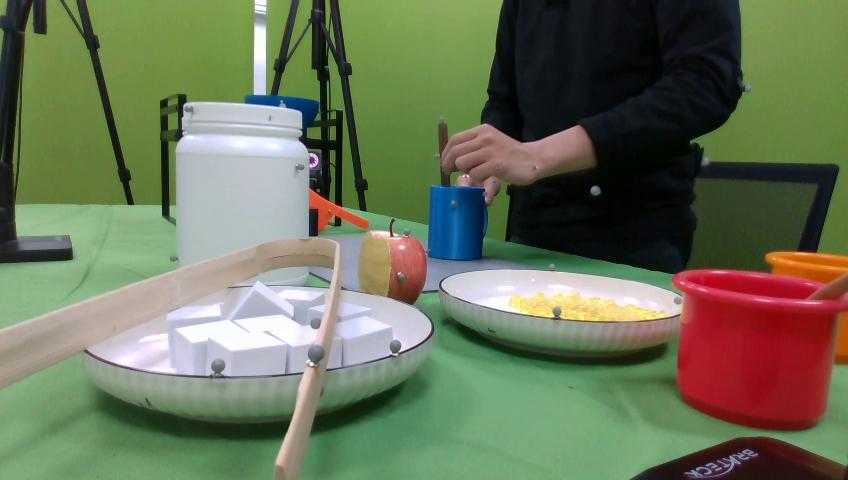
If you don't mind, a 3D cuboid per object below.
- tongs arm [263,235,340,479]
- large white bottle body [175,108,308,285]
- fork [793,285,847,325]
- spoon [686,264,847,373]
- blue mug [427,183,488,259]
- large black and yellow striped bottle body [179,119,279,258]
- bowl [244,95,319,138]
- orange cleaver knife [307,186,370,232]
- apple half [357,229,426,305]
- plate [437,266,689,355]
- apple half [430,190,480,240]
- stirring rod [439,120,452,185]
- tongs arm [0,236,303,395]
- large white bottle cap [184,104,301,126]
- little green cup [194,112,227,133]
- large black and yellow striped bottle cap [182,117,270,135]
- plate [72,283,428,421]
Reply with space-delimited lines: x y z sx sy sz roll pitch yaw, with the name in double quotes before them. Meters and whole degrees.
"tongs arm" -0.074 0.039 0.349 0.051 0.026 0.384 -2 10 -3
"large white bottle body" -0.188 -0.042 0.630 0.131 0.184 0.130 2 8 0
"fork" 0.331 0.018 0.442 0.028 0.018 0.207 -2 -36 -15
"spoon" 0.214 0.032 0.328 0.042 0.021 0.193 -3 -35 -26
"blue mug" 0.059 -0.031 0.906 0.082 0.106 0.117 9 10 42
"large black and yellow striped bottle body" -0.271 -0.074 0.846 0.131 0.184 0.130 0 9 0
"bowl" -0.293 -0.251 1.249 0.151 0.077 0.151 2 7 0
"orange cleaver knife" -0.197 -0.056 1.141 0.212 0.077 0.012 29 0 -34
"apple half" -0.026 0.028 0.570 0.053 0.074 0.080 3 2 -28
"plate" 0.114 0.057 0.518 0.209 0.038 0.209 3 7 0
"apple half" 0.046 -0.040 0.903 0.081 0.081 0.032 2 17 -4
"stirring rod" 0.033 -0.082 0.862 0.014 0.176 0.006 0 10 23
"tongs arm" -0.157 0.038 0.351 0.028 0.028 0.388 -3 8 12
"large white bottle cap" -0.184 -0.126 0.618 0.115 0.018 0.115 2 8 0
"little green cup" -0.412 -0.228 1.171 0.061 0.038 0.061 2 8 0
"large black and yellow striped bottle cap" -0.272 -0.156 0.833 0.115 0.019 0.115 1 7 0
"plate" -0.102 0.066 0.381 0.208 0.039 0.207 2 7 0
